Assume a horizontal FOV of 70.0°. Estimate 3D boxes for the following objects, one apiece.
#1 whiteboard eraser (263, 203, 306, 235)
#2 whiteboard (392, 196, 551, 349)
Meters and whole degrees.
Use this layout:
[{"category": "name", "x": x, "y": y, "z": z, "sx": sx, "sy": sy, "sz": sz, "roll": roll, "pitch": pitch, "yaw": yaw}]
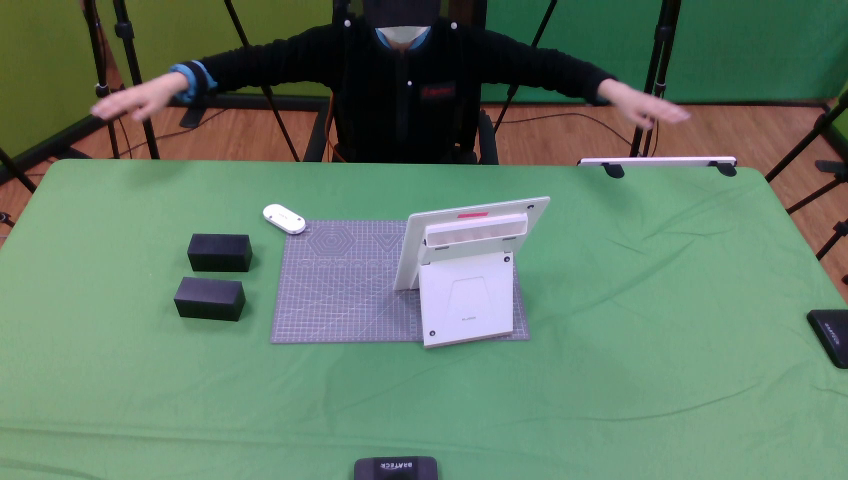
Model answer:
[{"category": "whiteboard eraser", "x": -0.281, "y": -0.043, "z": 1.216, "sx": 0.101, "sy": 0.019, "sz": 0.041, "roll": 29, "pitch": 53, "yaw": 25}, {"category": "whiteboard", "x": 0.077, "y": 0.071, "z": 0.977, "sx": 0.217, "sy": 0.306, "sz": 0.143, "roll": -7, "pitch": 67, "yaw": -11}]
